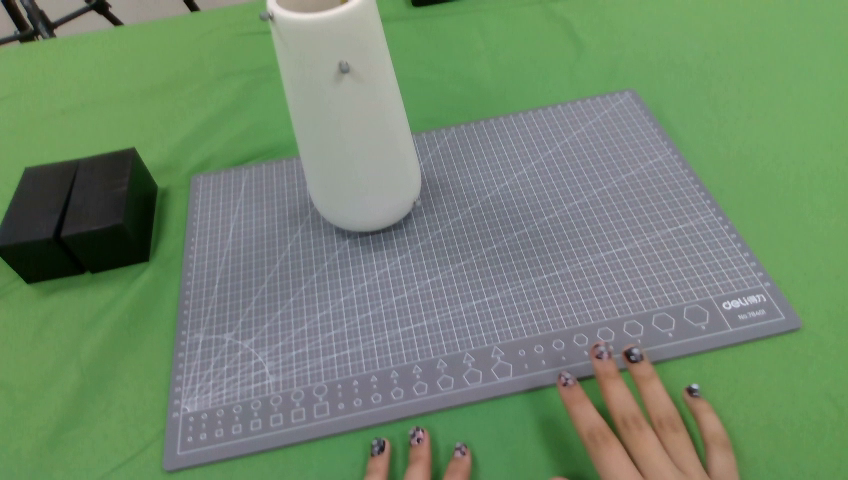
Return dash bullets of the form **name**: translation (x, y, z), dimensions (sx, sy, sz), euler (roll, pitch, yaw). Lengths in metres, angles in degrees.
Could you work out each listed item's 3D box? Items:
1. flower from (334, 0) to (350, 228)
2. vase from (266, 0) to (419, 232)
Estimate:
- **flower**: translation (-0.057, -0.163, 0.416), dimensions (0.044, 0.364, 0.038), euler (13, 35, 14)
- **vase**: translation (-0.061, -0.099, 0.472), dimensions (0.098, 0.202, 0.097), euler (-4, 48, 5)
